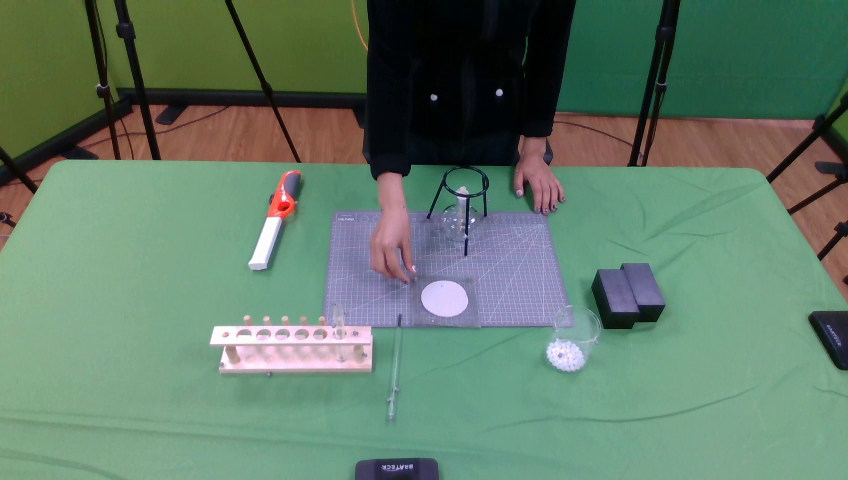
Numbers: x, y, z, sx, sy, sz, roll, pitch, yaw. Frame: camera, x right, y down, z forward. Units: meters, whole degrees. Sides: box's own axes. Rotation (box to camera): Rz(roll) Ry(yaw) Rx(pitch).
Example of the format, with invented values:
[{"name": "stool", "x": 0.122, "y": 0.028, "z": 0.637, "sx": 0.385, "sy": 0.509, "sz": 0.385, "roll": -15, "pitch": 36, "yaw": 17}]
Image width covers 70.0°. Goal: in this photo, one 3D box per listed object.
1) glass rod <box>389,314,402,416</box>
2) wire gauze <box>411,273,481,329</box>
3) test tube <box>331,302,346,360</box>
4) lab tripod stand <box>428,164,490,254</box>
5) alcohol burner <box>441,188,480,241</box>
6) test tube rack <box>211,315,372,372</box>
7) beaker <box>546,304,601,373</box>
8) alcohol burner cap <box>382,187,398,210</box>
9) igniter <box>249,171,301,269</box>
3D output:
[{"name": "glass rod", "x": -0.048, "y": 0.203, "z": 1.008, "sx": 0.008, "sy": 0.008, "sz": 0.198, "roll": 4, "pitch": 45, "yaw": 0}, {"name": "wire gauze", "x": 0.039, "y": 0.108, "z": 1.103, "sx": 0.125, "sy": 0.011, "sz": 0.120, "roll": 2, "pitch": 47, "yaw": -3}, {"name": "test tube", "x": -0.132, "y": 0.144, "z": 0.938, "sx": 0.017, "sy": 0.151, "sz": 0.017, "roll": 2, "pitch": 49, "yaw": -3}, {"name": "lab tripod stand", "x": 0.078, "y": -0.068, "z": 1.188, "sx": 0.148, "sy": 0.132, "sz": 0.147, "roll": 3, "pitch": 47, "yaw": -3}, {"name": "alcohol burner", "x": 0.073, "y": -0.055, "z": 1.189, "sx": 0.078, "sy": 0.120, "sz": 0.077, "roll": 1, "pitch": 48, "yaw": 0}, {"name": "test tube rack", "x": -0.208, "y": 0.164, "z": 0.982, "sx": 0.242, "sy": 0.085, "sz": 0.066, "roll": 1, "pitch": 46, "yaw": -4}, {"name": "beaker", "x": 0.242, "y": 0.167, "z": 1.001, "sx": 0.084, "sy": 0.101, "sz": 0.073, "roll": -32, "pitch": 55, "yaw": -28}, {"name": "alcohol burner cap", "x": -0.072, "y": -0.090, "z": 1.266, "sx": 0.034, "sy": 0.048, "sz": 0.033, "roll": 2, "pitch": 47, "yaw": -2}, {"name": "igniter", "x": -0.297, "y": -0.049, "z": 1.221, "sx": 0.057, "sy": 0.025, "sz": 0.275, "roll": -2, "pitch": 45, "yaw": 9}]
